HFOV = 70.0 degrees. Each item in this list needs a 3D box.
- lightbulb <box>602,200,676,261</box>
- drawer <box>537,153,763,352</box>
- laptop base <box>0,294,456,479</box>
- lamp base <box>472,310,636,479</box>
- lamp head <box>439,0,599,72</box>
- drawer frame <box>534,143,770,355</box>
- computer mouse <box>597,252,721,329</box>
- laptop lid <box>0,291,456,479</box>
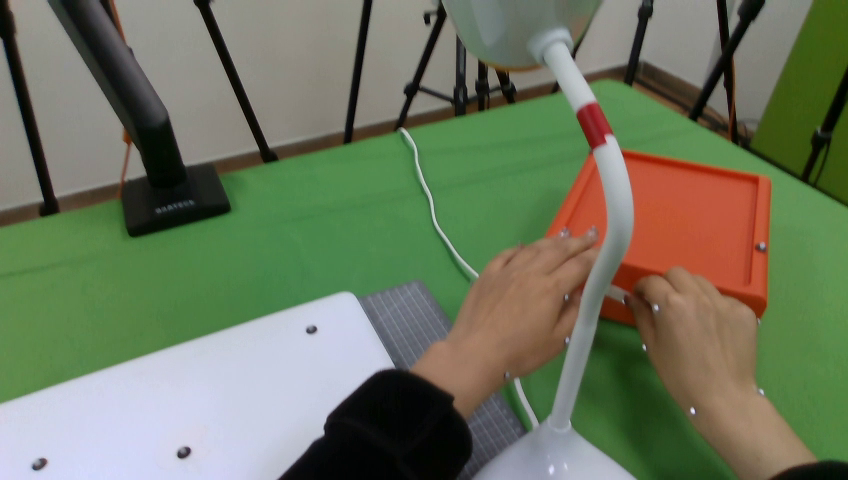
[{"bbox_3d":[0.234,-0.006,0.651,0.059,0.060,0.106,-9,23,-9],"label":"lightbulb"},{"bbox_3d":[0.242,-0.001,0.633,0.193,0.074,0.211,14,40,20],"label":"drawer"},{"bbox_3d":[-0.181,0.173,0.475,0.355,0.023,0.232,-18,45,-20],"label":"laptop base"},{"bbox_3d":[0.093,0.145,0.370,0.161,0.182,0.177,-4,36,-6],"label":"lamp base"},{"bbox_3d":[0.050,-0.145,0.301,0.112,0.124,0.111,-3,53,5],"label":"lamp head"},{"bbox_3d":[0.242,-0.005,0.634,0.200,0.083,0.212,14,40,20],"label":"drawer frame"},{"bbox_3d":[0.230,0.047,0.593,0.117,0.041,0.062,13,40,11],"label":"computer mouse"},{"bbox_3d":[-0.180,0.166,0.466,0.357,0.013,0.239,-17,43,-18],"label":"laptop lid"}]
